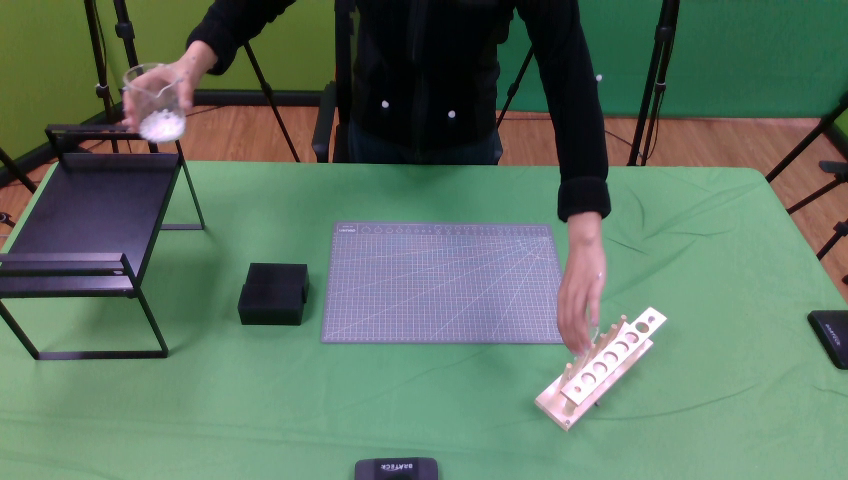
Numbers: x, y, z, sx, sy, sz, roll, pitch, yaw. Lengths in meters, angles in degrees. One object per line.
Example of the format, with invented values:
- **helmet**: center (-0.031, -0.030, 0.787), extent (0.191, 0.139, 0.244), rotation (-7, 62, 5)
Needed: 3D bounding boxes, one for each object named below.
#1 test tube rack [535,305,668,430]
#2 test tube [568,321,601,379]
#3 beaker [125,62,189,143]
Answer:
- **test tube rack**: center (0.290, 0.193, 0.984), extent (0.242, 0.085, 0.066), rotation (-32, 56, -30)
- **test tube**: center (0.247, 0.173, 0.938), extent (0.017, 0.151, 0.017), rotation (2, 47, -2)
- **beaker**: center (-0.398, -0.203, 0.913), extent (0.074, 0.101, 0.083), rotation (-14, 50, -21)
